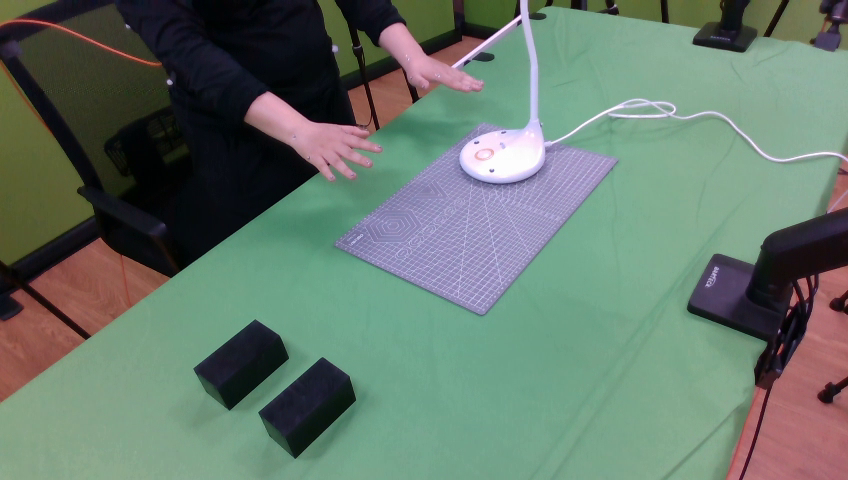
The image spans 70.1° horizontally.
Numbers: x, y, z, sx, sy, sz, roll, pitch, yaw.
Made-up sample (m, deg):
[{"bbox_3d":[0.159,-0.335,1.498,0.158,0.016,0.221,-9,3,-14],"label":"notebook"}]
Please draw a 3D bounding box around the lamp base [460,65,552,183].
[{"bbox_3d":[0.149,-0.218,1.078,0.180,0.181,0.159,-19,41,-17],"label":"lamp base"}]
